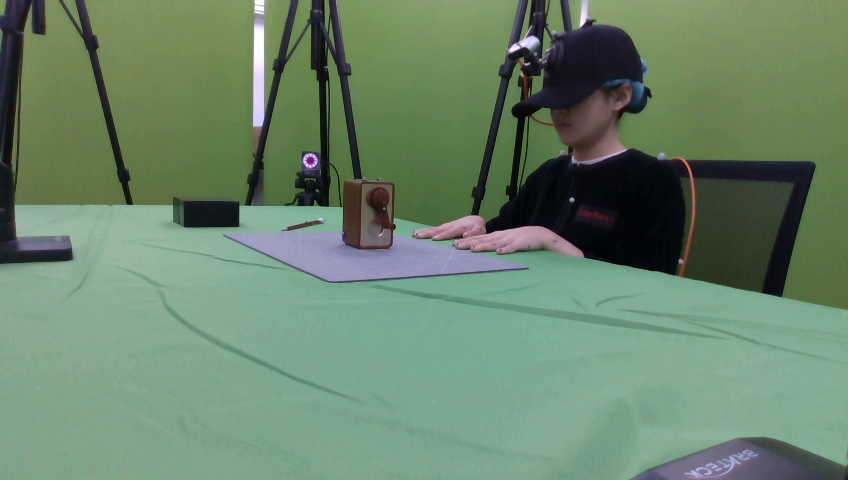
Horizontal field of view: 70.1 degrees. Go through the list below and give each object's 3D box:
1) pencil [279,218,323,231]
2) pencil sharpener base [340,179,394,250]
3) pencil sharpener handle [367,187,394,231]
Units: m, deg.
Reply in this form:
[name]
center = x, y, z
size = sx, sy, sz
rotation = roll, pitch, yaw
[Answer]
[pencil]
center = -0.246, -0.031, 1.222
size = 0.012, 0.012, 0.194
rotation = 5, 9, 14
[pencil sharpener base]
center = -0.090, -0.041, 0.959
size = 0.061, 0.107, 0.076
rotation = -1, 9, -30
[pencil sharpener handle]
center = -0.061, -0.046, 0.916
size = 0.036, 0.068, 0.030
rotation = -19, 17, -26
